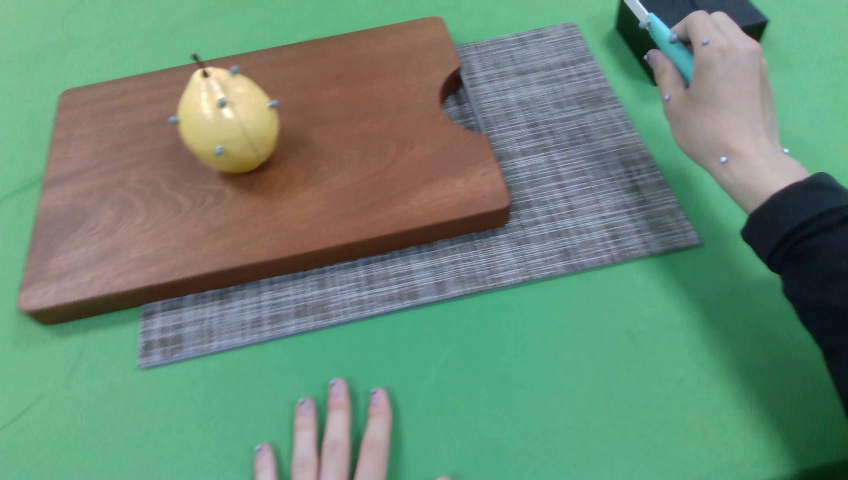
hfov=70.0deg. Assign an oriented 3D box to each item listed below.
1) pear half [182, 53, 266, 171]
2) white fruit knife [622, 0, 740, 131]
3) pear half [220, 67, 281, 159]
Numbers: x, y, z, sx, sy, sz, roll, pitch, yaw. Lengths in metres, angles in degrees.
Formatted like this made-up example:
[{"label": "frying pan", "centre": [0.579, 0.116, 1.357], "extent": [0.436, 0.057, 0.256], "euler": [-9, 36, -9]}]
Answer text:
[{"label": "pear half", "centre": [-0.174, -0.104, 0.499], "extent": [0.056, 0.111, 0.075], "euler": [-26, 53, -11]}, {"label": "white fruit knife", "centre": [0.184, -0.172, 0.489], "extent": [0.016, 0.027, 0.207], "euler": [-38, 83, 5]}, {"label": "pear half", "centre": [-0.141, -0.112, 0.512], "extent": [0.031, 0.089, 0.069], "euler": [-25, 53, -12]}]
